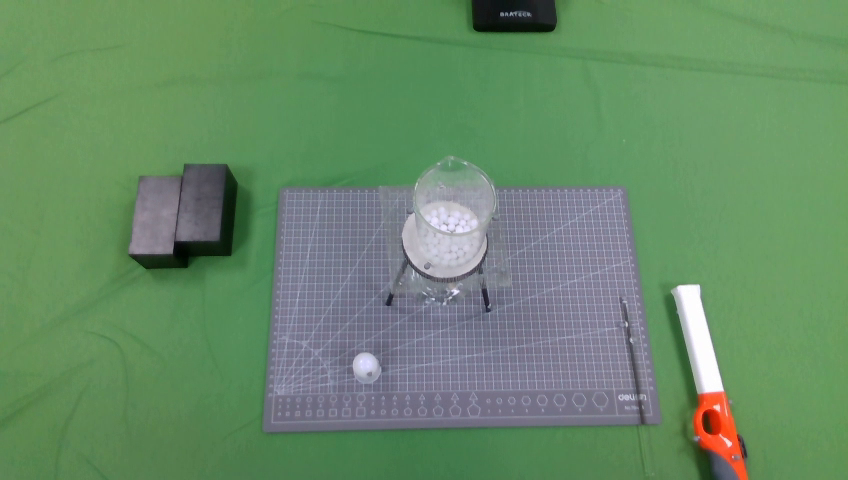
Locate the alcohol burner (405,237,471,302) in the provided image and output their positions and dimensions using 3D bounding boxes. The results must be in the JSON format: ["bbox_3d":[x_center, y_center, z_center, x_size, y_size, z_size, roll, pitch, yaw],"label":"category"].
[{"bbox_3d":[0.016,0.028,0.688,0.078,0.120,0.077,0,68,-1],"label":"alcohol burner"}]

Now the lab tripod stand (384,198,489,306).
[{"bbox_3d":[0.017,0.016,0.681,0.148,0.132,0.147,0,69,0],"label":"lab tripod stand"}]

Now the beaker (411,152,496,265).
[{"bbox_3d":[0.024,-0.025,0.575,0.074,0.101,0.083,-4,68,-3],"label":"beaker"}]

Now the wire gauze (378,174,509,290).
[{"bbox_3d":[0.018,-0.010,0.620,0.125,0.011,0.120,-5,68,-2],"label":"wire gauze"}]

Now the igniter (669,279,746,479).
[{"bbox_3d":[0.327,0.179,0.696,0.057,0.025,0.274,0,70,-13],"label":"igniter"}]

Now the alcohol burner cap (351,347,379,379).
[{"bbox_3d":[-0.067,0.137,0.683,0.034,0.048,0.033,1,70,-2],"label":"alcohol burner cap"}]

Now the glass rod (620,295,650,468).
[{"bbox_3d":[0.245,0.160,0.706,0.008,0.008,0.198,-1,70,-3],"label":"glass rod"}]
